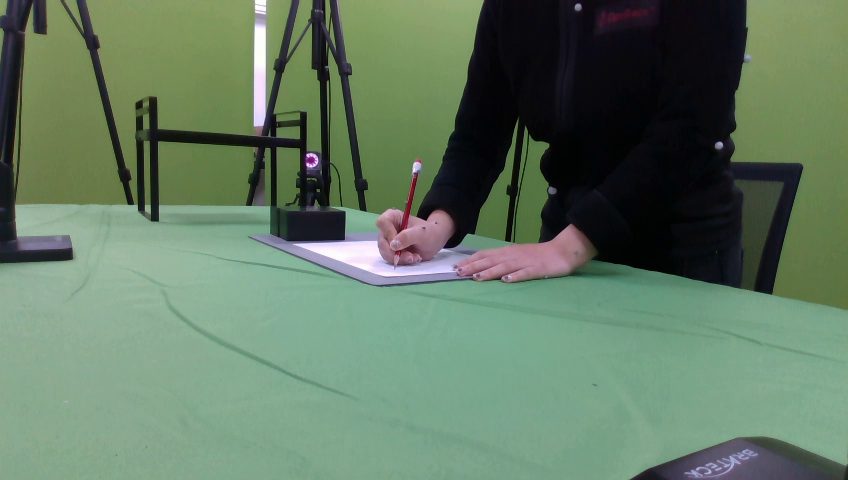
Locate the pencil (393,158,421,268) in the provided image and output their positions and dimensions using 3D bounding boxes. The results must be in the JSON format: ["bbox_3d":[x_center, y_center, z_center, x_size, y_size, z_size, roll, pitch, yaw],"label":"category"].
[{"bbox_3d":[-0.024,-0.041,0.819,0.012,0.194,0.012,7,-37,5],"label":"pencil"}]
